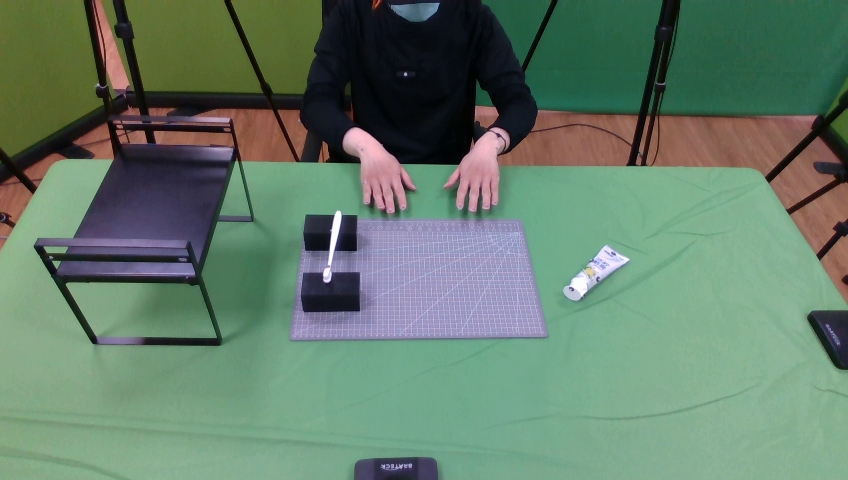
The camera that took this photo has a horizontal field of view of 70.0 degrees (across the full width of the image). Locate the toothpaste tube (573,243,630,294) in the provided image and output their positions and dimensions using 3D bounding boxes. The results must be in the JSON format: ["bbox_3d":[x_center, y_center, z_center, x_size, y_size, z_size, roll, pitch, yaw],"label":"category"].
[{"bbox_3d":[0.334,0.057,1.158,0.055,0.034,0.165,40,52,21],"label":"toothpaste tube"}]

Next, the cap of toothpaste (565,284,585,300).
[{"bbox_3d":[0.278,0.094,1.111,0.037,0.037,0.011,26,52,20],"label":"cap of toothpaste"}]

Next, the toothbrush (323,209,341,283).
[{"bbox_3d":[-0.167,0.005,1.106,0.014,0.017,0.180,-5,44,7],"label":"toothbrush"}]
